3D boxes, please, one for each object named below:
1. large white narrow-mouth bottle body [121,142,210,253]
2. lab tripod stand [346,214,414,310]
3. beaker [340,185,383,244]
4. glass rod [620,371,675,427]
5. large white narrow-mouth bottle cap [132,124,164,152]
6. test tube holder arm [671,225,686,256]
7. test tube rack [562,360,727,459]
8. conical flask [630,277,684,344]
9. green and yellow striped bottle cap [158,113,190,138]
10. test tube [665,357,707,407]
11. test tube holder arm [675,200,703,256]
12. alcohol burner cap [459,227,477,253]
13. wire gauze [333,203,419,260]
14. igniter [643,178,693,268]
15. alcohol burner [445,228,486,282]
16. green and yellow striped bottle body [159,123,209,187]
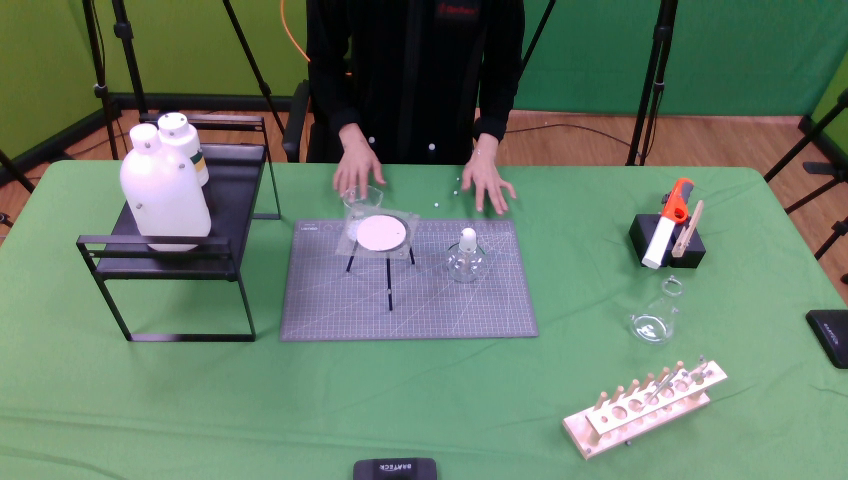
[{"bbox_3d":[-0.378,-0.077,0.875,0.102,0.195,0.101,3,46,-3],"label":"large white narrow-mouth bottle body"},{"bbox_3d":[-0.075,0.030,1.082,0.148,0.132,0.147,1,47,-1],"label":"lab tripod stand"},{"bbox_3d":[-0.119,-0.048,1.177,0.084,0.101,0.073,-20,51,-23],"label":"beaker"},{"bbox_3d":[0.315,0.230,0.863,0.008,0.200,0.008,3,53,-3],"label":"glass rod"},{"bbox_3d":[-0.371,-0.138,0.812,0.038,0.024,0.037,3,46,-3],"label":"large white narrow-mouth bottle cap"},{"bbox_3d":[0.494,0.001,1.167,0.010,0.015,0.087,1,36,42],"label":"test tube holder arm"},{"bbox_3d":[0.341,0.247,0.940,0.243,0.085,0.066,-16,49,-19],"label":"test tube rack"},{"bbox_3d":[0.408,0.117,1.045,0.075,0.122,0.075,2,46,-2],"label":"conical flask"},{"bbox_3d":[-0.393,-0.180,0.951,0.045,0.020,0.045,2,44,-2],"label":"green and yellow striped bottle cap"},{"bbox_3d":[0.387,0.215,0.905,0.017,0.151,0.017,1,52,-1],"label":"test tube"},{"bbox_3d":[0.523,-0.025,1.190,0.013,0.015,0.178,1,36,41],"label":"test tube holder arm"},{"bbox_3d":[0.079,-0.002,1.088,0.034,0.048,0.033,-1,54,2],"label":"alcohol burner cap"},{"bbox_3d":[-0.079,-0.014,1.030,0.121,0.011,0.124,8,45,6],"label":"wire gauze"},{"bbox_3d":[0.488,-0.042,1.205,0.057,0.025,0.276,30,51,11],"label":"igniter"},{"bbox_3d":[0.077,0.021,1.115,0.078,0.120,0.077,1,48,-1],"label":"alcohol burner"},{"bbox_3d":[-0.395,-0.145,0.989,0.063,0.120,0.063,2,46,-2],"label":"green and yellow striped bottle body"}]
